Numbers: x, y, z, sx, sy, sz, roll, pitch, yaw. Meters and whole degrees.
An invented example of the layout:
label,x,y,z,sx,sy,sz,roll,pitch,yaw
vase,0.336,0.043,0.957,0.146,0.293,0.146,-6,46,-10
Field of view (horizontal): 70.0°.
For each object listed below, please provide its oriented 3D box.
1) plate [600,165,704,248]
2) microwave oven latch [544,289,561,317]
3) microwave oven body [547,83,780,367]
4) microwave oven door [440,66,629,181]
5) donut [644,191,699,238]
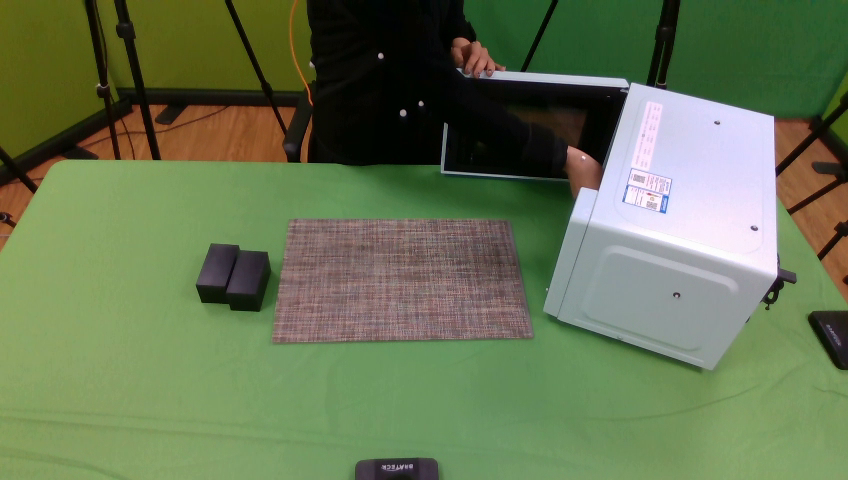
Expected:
label,x,y,z,sx,sy,sz,roll,pitch,yaw
plate,0.433,-0.062,1.170,0.209,0.038,0.208,9,48,-10
microwave oven latch,0.237,0.099,1.087,0.030,0.029,0.079,17,47,14
microwave oven body,0.445,-0.041,1.101,0.325,0.261,0.440,17,47,13
microwave oven door,0.219,-0.237,1.265,0.356,0.245,0.039,3,46,-1
donut,0.472,-0.049,1.159,0.099,0.048,0.098,-5,61,9
